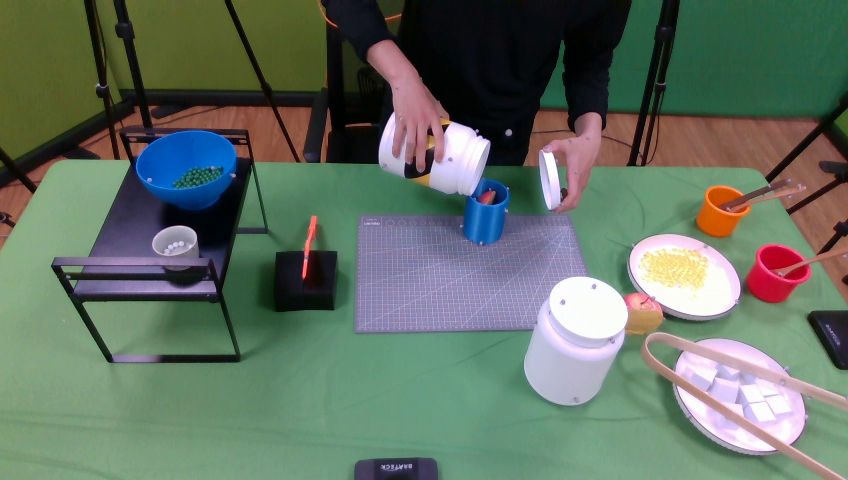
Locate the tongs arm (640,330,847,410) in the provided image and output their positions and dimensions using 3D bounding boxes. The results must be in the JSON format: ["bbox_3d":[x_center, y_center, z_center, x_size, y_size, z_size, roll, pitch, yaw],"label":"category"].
[{"bbox_3d":[0.543,0.225,0.969,0.384,0.026,0.050,22,52,13],"label":"tongs arm"}]

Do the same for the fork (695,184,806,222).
[{"bbox_3d":[0.658,-0.074,1.230,0.207,0.019,0.028,-24,33,36],"label":"fork"}]

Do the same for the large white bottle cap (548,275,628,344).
[{"bbox_3d":[0.240,0.100,0.890,0.115,0.018,0.114,3,47,-3],"label":"large white bottle cap"}]

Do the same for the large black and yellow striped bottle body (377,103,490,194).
[{"bbox_3d":[0.019,-0.166,1.134,0.184,0.131,0.130,21,48,9],"label":"large black and yellow striped bottle body"}]

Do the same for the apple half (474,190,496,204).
[{"bbox_3d":[0.109,-0.067,1.200,0.033,0.081,0.081,28,50,11],"label":"apple half"}]

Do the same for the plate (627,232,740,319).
[{"bbox_3d":[0.489,0.070,1.156,0.209,0.038,0.208,3,46,-3],"label":"plate"}]

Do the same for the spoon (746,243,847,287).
[{"bbox_3d":[0.702,0.043,1.126,0.194,0.022,0.041,-29,38,30],"label":"spoon"}]

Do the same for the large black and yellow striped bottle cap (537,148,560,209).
[{"bbox_3d":[0.234,-0.116,1.138,0.019,0.115,0.114,-9,47,3],"label":"large black and yellow striped bottle cap"}]

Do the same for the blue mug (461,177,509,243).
[{"bbox_3d":[0.114,-0.070,1.210,0.082,0.106,0.115,-12,48,-15],"label":"blue mug"}]

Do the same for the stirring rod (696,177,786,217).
[{"bbox_3d":[0.648,-0.087,1.244,0.176,0.006,0.014,-25,50,29],"label":"stirring rod"}]

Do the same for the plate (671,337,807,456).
[{"bbox_3d":[0.504,0.254,0.984,0.208,0.039,0.206,2,46,-2],"label":"plate"}]

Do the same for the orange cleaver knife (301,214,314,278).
[{"bbox_3d":[-0.218,0.008,1.131,0.012,0.077,0.210,7,19,-9],"label":"orange cleaver knife"}]

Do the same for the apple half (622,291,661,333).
[{"bbox_3d":[0.372,0.123,1.074,0.081,0.075,0.053,0,42,1],"label":"apple half"}]

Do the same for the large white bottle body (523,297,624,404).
[{"bbox_3d":[0.235,0.159,0.952,0.131,0.185,0.130,2,47,-2],"label":"large white bottle body"}]

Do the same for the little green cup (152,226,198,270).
[{"bbox_3d":[-0.364,0.013,0.894,0.061,0.039,0.061,3,46,-3],"label":"little green cup"}]

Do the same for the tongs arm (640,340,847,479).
[{"bbox_3d":[0.500,0.277,0.919,0.386,0.028,0.028,34,59,22],"label":"tongs arm"}]

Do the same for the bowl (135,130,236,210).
[{"bbox_3d":[-0.375,-0.102,0.978,0.151,0.077,0.150,2,46,-2],"label":"bowl"}]
